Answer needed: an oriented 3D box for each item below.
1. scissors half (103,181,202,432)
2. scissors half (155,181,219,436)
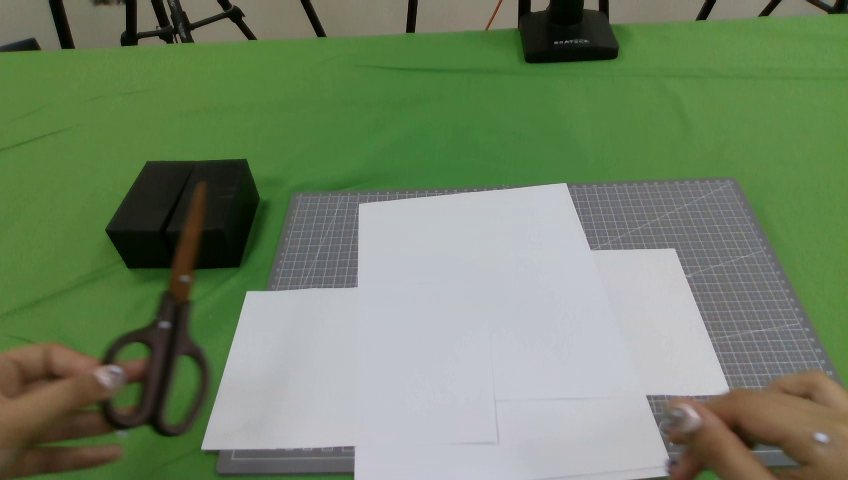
[{"bbox_3d":[-0.168,0.034,0.392,0.013,0.040,0.173,-13,54,30],"label":"scissors half"},{"bbox_3d":[-0.155,0.040,0.407,0.012,0.040,0.174,-16,70,35],"label":"scissors half"}]
